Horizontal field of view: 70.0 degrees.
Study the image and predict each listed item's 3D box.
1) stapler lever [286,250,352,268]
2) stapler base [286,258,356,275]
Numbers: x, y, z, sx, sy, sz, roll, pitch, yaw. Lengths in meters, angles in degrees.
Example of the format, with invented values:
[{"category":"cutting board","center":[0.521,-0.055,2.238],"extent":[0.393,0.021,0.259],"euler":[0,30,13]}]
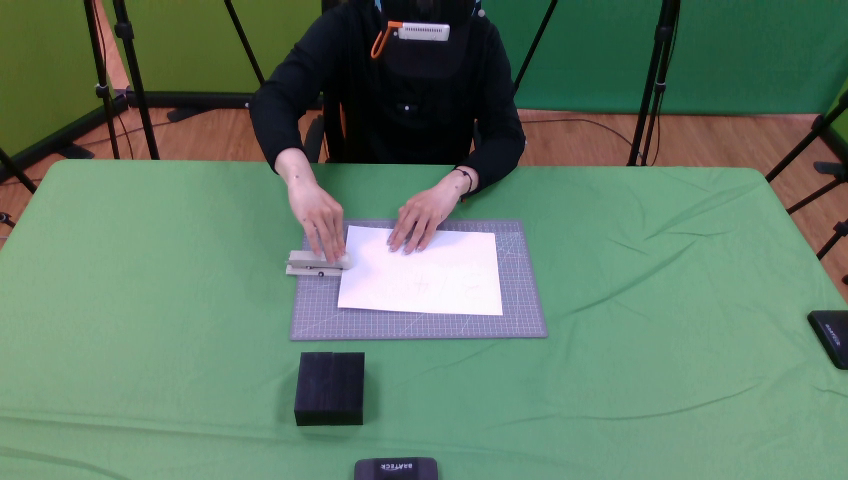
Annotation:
[{"category":"stapler lever","center":[-0.193,0.034,1.124],"extent":[0.118,0.040,0.026],"euler":[9,44,-9]},{"category":"stapler base","center":[-0.193,0.042,1.134],"extent":[0.130,0.024,0.041],"euler":[0,45,-1]}]
